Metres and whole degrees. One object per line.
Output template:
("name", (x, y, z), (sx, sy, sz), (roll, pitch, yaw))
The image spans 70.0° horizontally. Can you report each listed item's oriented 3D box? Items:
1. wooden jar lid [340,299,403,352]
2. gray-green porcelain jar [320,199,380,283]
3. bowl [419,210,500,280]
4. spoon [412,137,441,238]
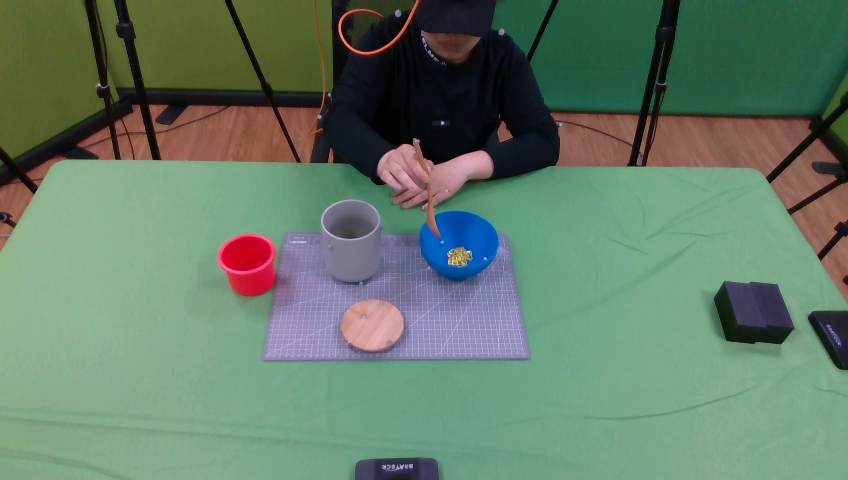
("wooden jar lid", (-0.090, 0.150, 1.046), (0.108, 0.021, 0.107), (3, 47, -3))
("gray-green porcelain jar", (-0.132, 0.007, 1.106), (0.106, 0.127, 0.105), (2, 46, -2))
("bowl", (0.062, 0.022, 1.140), (0.151, 0.077, 0.150), (2, 46, -2))
("spoon", (0.004, -0.086, 1.040), (0.021, 0.194, 0.041), (-16, 28, -10))
